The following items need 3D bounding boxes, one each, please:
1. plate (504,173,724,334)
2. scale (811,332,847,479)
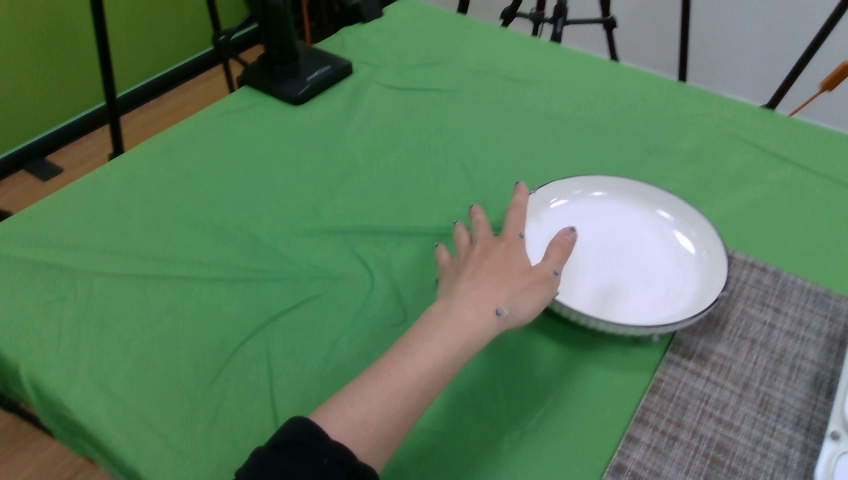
[{"bbox_3d":[0.181,0.012,0.597,0.209,0.038,0.207,0,45,0],"label":"plate"},{"bbox_3d":[0.393,0.148,0.460,0.147,0.032,0.200,26,50,24],"label":"scale"}]
